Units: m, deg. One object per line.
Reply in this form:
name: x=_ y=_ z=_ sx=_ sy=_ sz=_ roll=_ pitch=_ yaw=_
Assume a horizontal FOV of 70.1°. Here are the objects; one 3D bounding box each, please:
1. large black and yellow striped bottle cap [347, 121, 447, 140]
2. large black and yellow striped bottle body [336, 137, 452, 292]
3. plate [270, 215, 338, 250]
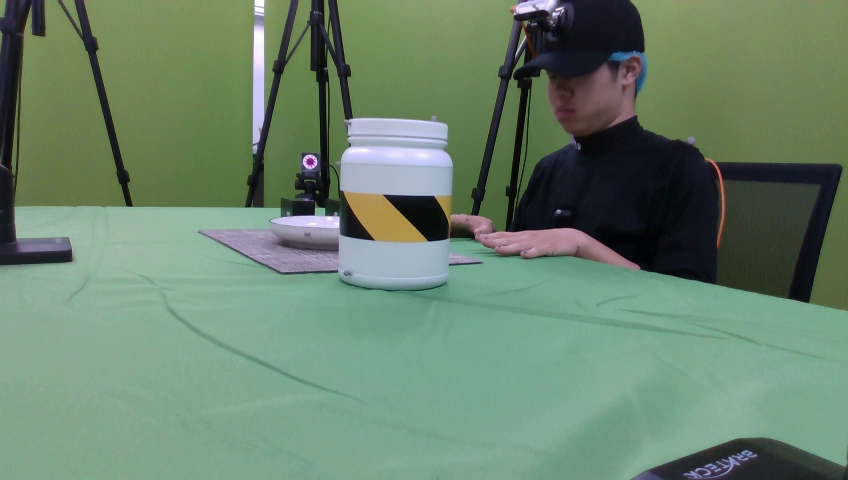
large black and yellow striped bottle cap: x=-0.031 y=-0.124 z=0.691 sx=0.115 sy=0.019 sz=0.115 roll=1 pitch=7 yaw=0
large black and yellow striped bottle body: x=-0.034 y=-0.041 z=0.703 sx=0.131 sy=0.184 sz=0.130 roll=3 pitch=7 yaw=0
plate: x=-0.145 y=-0.013 z=0.992 sx=0.208 sy=0.039 sz=0.207 roll=2 pitch=7 yaw=0
